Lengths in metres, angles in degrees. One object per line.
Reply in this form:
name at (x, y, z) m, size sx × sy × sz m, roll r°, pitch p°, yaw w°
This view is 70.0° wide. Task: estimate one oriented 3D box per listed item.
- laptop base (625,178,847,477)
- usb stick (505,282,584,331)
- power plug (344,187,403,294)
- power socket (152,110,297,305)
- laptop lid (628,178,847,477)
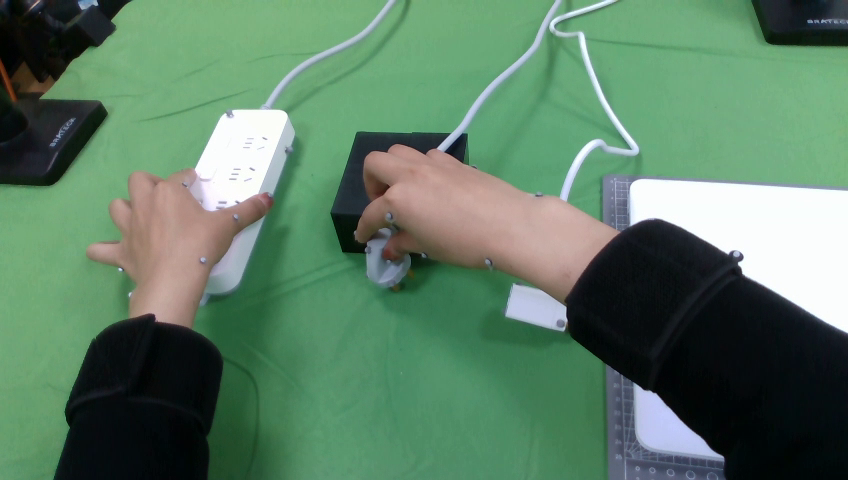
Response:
laptop base at (0.326, 0.058, 0.426) m, size 0.353 × 0.023 × 0.233 m, roll 5°, pitch 55°, yaw 10°
usb stick at (0.091, 0.051, 0.448) m, size 0.059 × 0.021 × 0.027 m, roll 18°, pitch 89°, yaw 5°
power plug at (-0.045, 0.003, 0.458) m, size 0.035 × 0.073 × 0.052 m, roll -1°, pitch 31°, yaw 49°
power socket at (-0.176, -0.043, 0.555) m, size 0.072 × 0.033 × 0.224 m, roll 3°, pitch 51°, yaw 7°
laptop lid at (0.324, 0.052, 0.415) m, size 0.356 × 0.013 × 0.240 m, roll 6°, pitch 54°, yaw 11°
